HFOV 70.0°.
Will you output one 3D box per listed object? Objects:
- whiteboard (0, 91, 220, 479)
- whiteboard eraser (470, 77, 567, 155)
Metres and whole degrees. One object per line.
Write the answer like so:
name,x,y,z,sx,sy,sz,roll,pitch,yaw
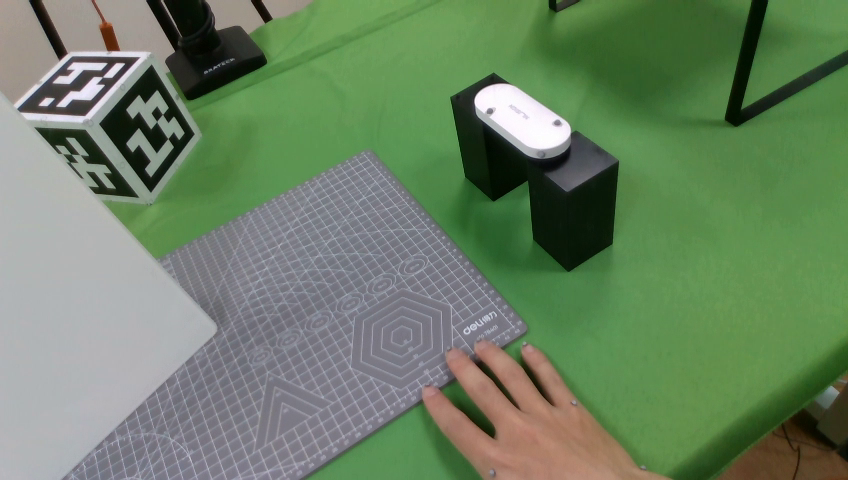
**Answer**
whiteboard,-0.360,0.028,0.475,0.142,0.308,0.217,15,55,48
whiteboard eraser,0.076,-0.105,0.499,0.041,0.019,0.100,-31,52,-15
